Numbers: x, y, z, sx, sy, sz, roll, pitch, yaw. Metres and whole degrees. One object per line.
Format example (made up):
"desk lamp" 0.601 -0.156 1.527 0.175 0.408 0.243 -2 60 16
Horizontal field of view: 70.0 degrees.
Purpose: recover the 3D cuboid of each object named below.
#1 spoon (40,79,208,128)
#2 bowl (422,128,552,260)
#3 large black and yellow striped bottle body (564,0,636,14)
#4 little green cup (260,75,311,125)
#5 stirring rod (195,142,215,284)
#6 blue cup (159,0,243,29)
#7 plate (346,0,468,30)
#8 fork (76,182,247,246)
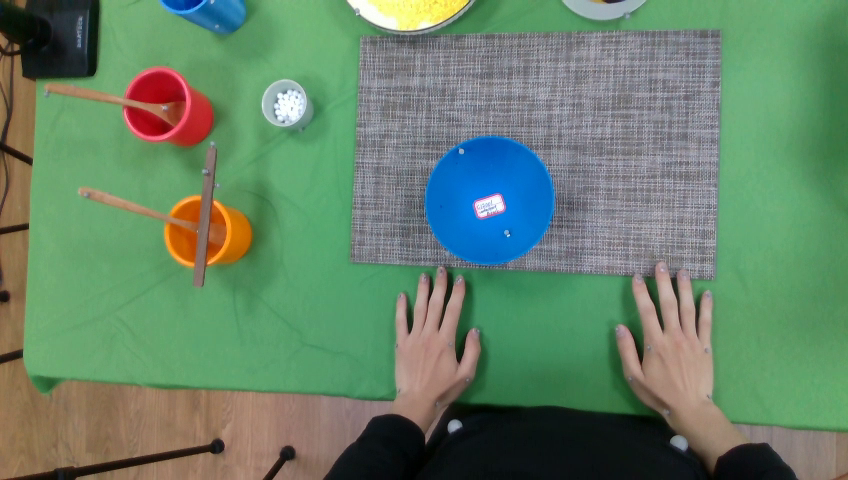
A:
"spoon" -0.381 -0.182 0.782 0.195 0.021 0.041 8 92 -33
"bowl" 0.078 -0.050 0.728 0.151 0.077 0.151 0 88 10
"large black and yellow striped bottle body" 0.206 -0.346 0.665 0.130 0.184 0.130 0 88 10
"little green cup" -0.181 -0.182 0.800 0.061 0.039 0.061 0 88 11
"stirring rod" -0.272 -0.034 0.753 0.014 0.006 0.176 4 89 11
"blue cup" -0.287 -0.323 0.791 0.092 0.100 0.092 0 88 12
"plate" -0.017 -0.370 0.779 0.209 0.038 0.209 0 89 10
"fork" -0.325 -0.032 0.764 0.209 0.018 0.028 21 95 -33
